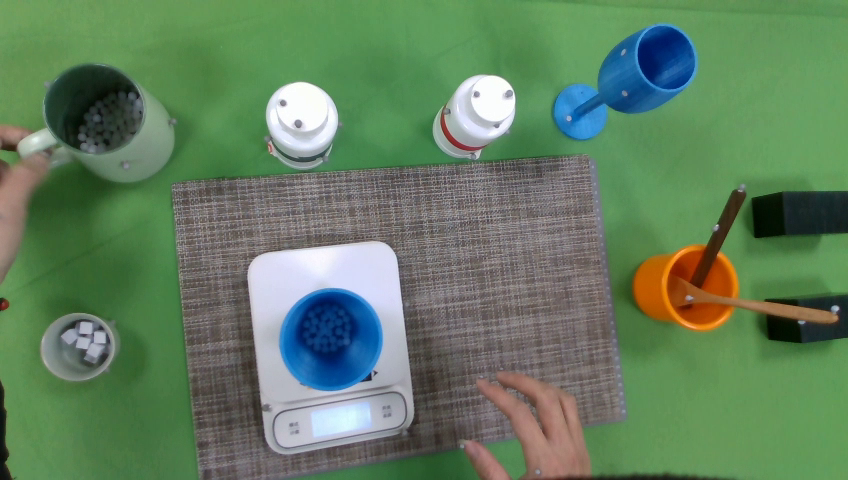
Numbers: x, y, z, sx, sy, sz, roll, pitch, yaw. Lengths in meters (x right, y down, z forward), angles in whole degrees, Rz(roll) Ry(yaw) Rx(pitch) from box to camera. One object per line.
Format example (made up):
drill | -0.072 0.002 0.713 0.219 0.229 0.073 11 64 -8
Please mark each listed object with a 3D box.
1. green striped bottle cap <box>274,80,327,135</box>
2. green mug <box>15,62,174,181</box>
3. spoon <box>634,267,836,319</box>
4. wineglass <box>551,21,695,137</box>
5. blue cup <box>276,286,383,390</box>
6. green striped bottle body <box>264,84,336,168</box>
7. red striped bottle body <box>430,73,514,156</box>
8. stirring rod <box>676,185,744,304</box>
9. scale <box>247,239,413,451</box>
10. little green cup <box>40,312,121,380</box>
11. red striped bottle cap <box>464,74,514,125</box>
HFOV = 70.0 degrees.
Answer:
green striped bottle cap | -0.105 -0.113 0.518 0.044 0.020 0.044 1 86 -11
green mug | -0.295 -0.096 0.540 0.125 0.105 0.092 -29 93 -12
spoon | 0.323 0.062 0.645 0.022 0.192 0.041 6 93 -55
wineglass | 0.194 -0.156 0.615 0.074 0.172 0.073 1 86 -11
blue cup | -0.086 0.081 0.543 0.093 0.100 0.092 0 89 -12
green striped bottle body | -0.117 -0.108 0.572 0.063 0.119 0.063 1 86 -12
red striped bottle body | 0.049 -0.126 0.610 0.063 0.119 0.063 1 86 -12
stirring rod | 0.299 0.012 0.642 0.014 0.178 0.005 2 45 1
scale | -0.092 0.104 0.607 0.149 0.031 0.200 -6 89 -12
little green cup | -0.313 0.096 0.559 0.062 0.038 0.061 1 88 -13
red striped bottle cap | 0.060 -0.130 0.557 0.045 0.017 0.044 2 83 -12
